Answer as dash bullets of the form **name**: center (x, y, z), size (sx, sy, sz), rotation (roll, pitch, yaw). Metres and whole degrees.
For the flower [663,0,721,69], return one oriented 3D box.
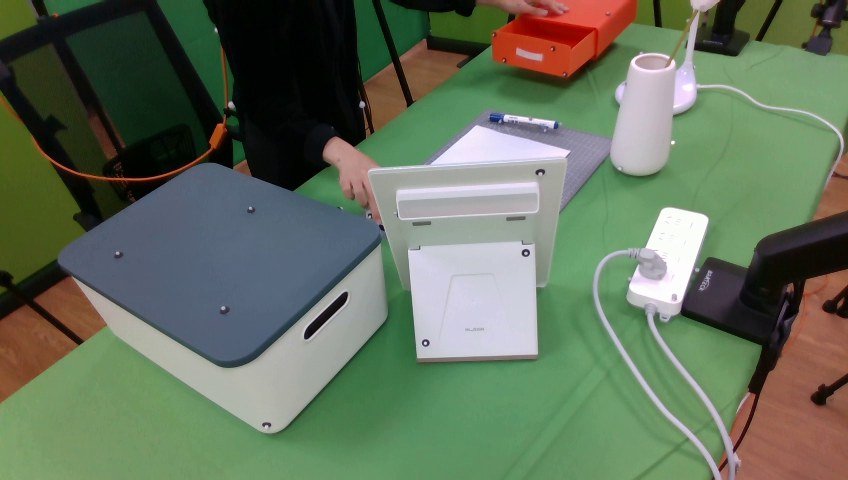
- **flower**: center (0.379, -0.261, 0.965), size (0.044, 0.362, 0.038), rotation (20, 52, 5)

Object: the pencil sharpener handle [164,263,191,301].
- **pencil sharpener handle**: center (-0.354, 0.055, 0.866), size (0.036, 0.068, 0.030), rotation (-17, 39, -29)

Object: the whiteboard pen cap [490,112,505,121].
- **whiteboard pen cap**: center (0.154, -0.254, 1.250), size (0.033, 0.018, 0.018), rotation (15, 45, 26)

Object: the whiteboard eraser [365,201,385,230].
- **whiteboard eraser**: center (-0.038, -0.038, 1.006), size (0.112, 0.042, 0.055), rotation (17, 50, 25)

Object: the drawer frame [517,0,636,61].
- **drawer frame**: center (0.356, -0.516, 1.415), size (0.200, 0.083, 0.214), rotation (22, 51, 31)

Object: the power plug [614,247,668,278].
- **power plug**: center (0.306, 0.031, 0.851), size (0.072, 0.053, 0.035), rotation (24, 49, 33)

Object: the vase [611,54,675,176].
- **vase**: center (0.377, -0.209, 1.031), size (0.098, 0.201, 0.097), rotation (-3, 40, 3)

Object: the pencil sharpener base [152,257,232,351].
- **pencil sharpener base**: center (-0.322, 0.088, 0.841), size (0.061, 0.107, 0.076), rotation (-28, 44, -20)

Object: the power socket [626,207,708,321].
- **power socket**: center (0.359, 0.025, 0.886), size (0.072, 0.033, 0.227), rotation (16, 46, 26)

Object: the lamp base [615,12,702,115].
- **lamp base**: center (0.484, -0.364, 1.211), size (0.180, 0.181, 0.159), rotation (-15, 41, -13)

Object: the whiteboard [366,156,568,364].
- **whiteboard**: center (0.059, 0.050, 0.738), size (0.217, 0.307, 0.143), rotation (-2, 60, 6)

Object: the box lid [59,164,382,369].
- **box lid**: center (-0.263, 0.010, 0.777), size (0.368, 0.015, 0.264), rotation (20, 47, 29)

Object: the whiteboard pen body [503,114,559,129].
- **whiteboard pen body**: center (0.205, -0.242, 1.225), size (0.140, 0.017, 0.017), rotation (14, 45, 26)

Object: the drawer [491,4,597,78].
- **drawer**: center (0.288, -0.453, 1.353), size (0.193, 0.073, 0.212), rotation (24, 49, 32)

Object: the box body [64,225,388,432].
- **box body**: center (-0.256, 0.065, 0.827), size (0.361, 0.161, 0.255), rotation (20, 48, 29)

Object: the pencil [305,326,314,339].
- **pencil**: center (-0.187, 0.106, 0.880), size (0.012, 0.012, 0.192), rotation (-27, 41, -22)
